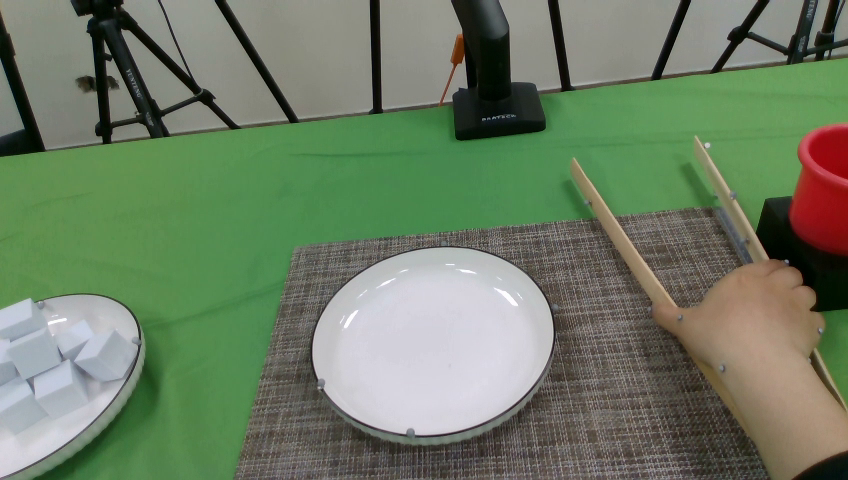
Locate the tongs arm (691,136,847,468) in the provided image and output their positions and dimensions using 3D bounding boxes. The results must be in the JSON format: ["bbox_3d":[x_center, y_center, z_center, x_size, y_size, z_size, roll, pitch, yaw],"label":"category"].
[{"bbox_3d":[0.285,0.020,0.550,0.051,0.027,0.381,-5,41,4],"label":"tongs arm"}]

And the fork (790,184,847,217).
[{"bbox_3d":[0.394,-0.074,0.474,0.207,0.019,0.028,-39,7,29],"label":"fork"}]

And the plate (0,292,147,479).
[{"bbox_3d":[-0.351,0.133,0.543,0.209,0.038,0.207,-5,40,5],"label":"plate"}]

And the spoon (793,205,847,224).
[{"bbox_3d":[0.366,-0.044,0.444,0.041,0.194,0.021,-28,86,-28],"label":"spoon"}]

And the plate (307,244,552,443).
[{"bbox_3d":[0.005,0.086,0.524,0.207,0.039,0.205,-5,41,5],"label":"plate"}]

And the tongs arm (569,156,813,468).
[{"bbox_3d":[0.210,0.032,0.553,0.028,0.028,0.383,-10,41,-7],"label":"tongs arm"}]
